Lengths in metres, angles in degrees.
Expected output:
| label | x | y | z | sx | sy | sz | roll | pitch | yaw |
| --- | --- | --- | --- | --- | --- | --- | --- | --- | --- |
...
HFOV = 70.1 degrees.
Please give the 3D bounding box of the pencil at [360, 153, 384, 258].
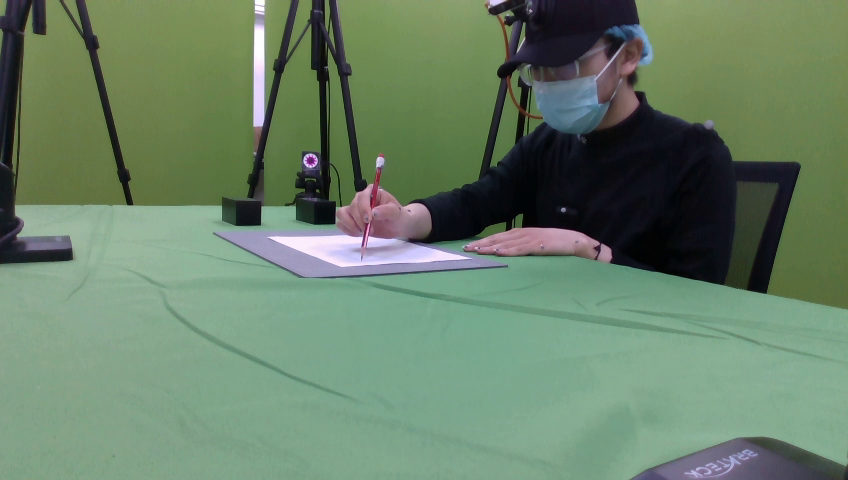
| label | x | y | z | sx | sy | sz | roll | pitch | yaw |
| --- | --- | --- | --- | --- | --- | --- | --- | --- | --- |
| pencil | -0.076 | -0.054 | 0.872 | 0.012 | 0.193 | 0.012 | 5 | -35 | 4 |
